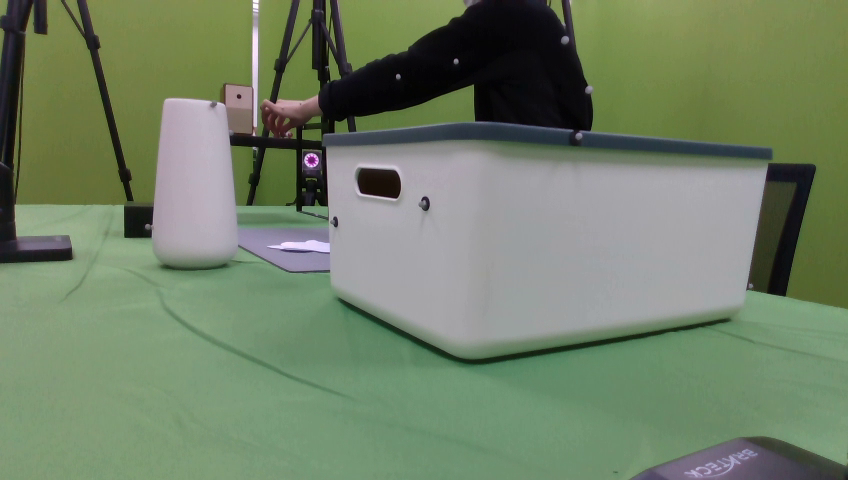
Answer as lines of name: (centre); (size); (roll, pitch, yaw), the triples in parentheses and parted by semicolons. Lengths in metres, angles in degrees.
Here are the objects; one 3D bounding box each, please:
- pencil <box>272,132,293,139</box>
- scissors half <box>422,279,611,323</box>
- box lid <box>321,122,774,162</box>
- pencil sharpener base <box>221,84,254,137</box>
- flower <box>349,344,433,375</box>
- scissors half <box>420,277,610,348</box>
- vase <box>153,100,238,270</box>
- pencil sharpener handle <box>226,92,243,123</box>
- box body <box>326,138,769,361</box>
pencil: (-0.331, -0.240, 1.395); (0.012, 0.012, 0.193); (-1, 7, -26)
scissors half: (0.073, 0.057, 0.524); (0.174, 0.040, 0.013); (5, 39, 30)
box lid: (0.114, -0.085, 0.573); (0.373, 0.015, 0.262); (-2, 7, -33)
pencil sharpener base: (-0.411, -0.282, 1.330); (0.061, 0.107, 0.076); (-1, 8, -26)
flower: (0.103, 0.072, 0.592); (0.362, 0.044, 0.038); (-17, 44, -9)
scissors half: (0.076, 0.067, 0.533); (0.174, 0.040, 0.013); (14, 50, 24)
vase: (-0.278, -0.066, 0.736); (0.098, 0.200, 0.098); (2, 9, 0)
pencil sharpener handle: (-0.431, -0.301, 1.375); (0.036, 0.068, 0.030); (-13, 13, -24)
box body: (0.112, -0.010, 0.583); (0.366, 0.160, 0.253); (-2, 9, -33)
